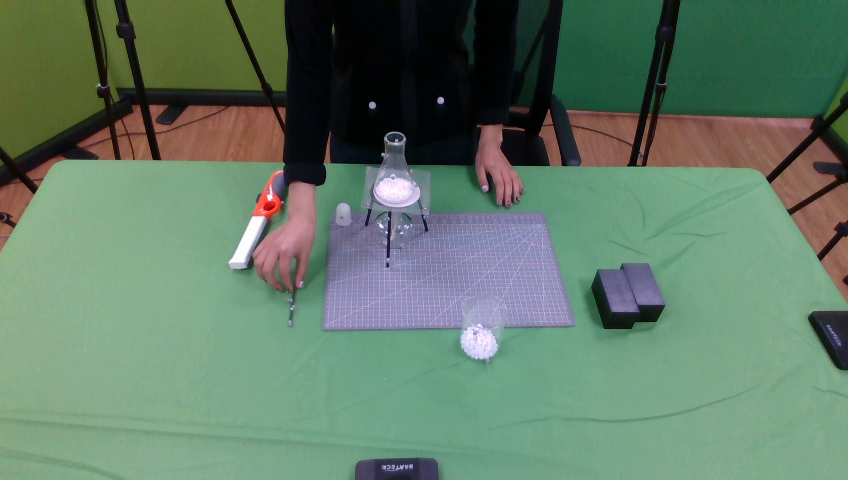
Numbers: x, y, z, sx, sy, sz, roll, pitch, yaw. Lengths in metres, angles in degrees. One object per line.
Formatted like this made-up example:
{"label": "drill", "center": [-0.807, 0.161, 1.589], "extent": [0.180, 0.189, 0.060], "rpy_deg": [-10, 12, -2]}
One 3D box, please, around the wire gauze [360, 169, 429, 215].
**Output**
{"label": "wire gauze", "center": [-0.052, -0.092, 1.112], "extent": [0.125, 0.011, 0.120], "rpy_deg": [3, 43, 1]}

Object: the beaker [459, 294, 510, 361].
{"label": "beaker", "center": [0.094, 0.147, 1.012], "extent": [0.083, 0.101, 0.074], "rpy_deg": [26, 49, 21]}

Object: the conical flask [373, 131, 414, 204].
{"label": "conical flask", "center": [-0.053, -0.130, 1.066], "extent": [0.075, 0.122, 0.075], "rpy_deg": [2, 44, -2]}

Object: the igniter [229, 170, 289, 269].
{"label": "igniter", "center": [-0.328, -0.049, 1.218], "extent": [0.057, 0.025, 0.275], "rpy_deg": [1, 46, 11]}

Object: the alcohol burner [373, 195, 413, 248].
{"label": "alcohol burner", "center": [-0.060, -0.041, 1.167], "extent": [0.078, 0.119, 0.077], "rpy_deg": [4, 45, -4]}

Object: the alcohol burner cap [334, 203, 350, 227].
{"label": "alcohol burner cap", "center": [-0.166, -0.054, 1.221], "extent": [0.034, 0.048, 0.033], "rpy_deg": [3, 45, -3]}

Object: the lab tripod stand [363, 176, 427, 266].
{"label": "lab tripod stand", "center": [-0.057, -0.047, 1.159], "extent": [0.148, 0.132, 0.147], "rpy_deg": [3, 44, -2]}

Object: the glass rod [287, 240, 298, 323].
{"label": "glass rod", "center": [-0.242, 0.072, 1.119], "extent": [0.008, 0.008, 0.198], "rpy_deg": [-1, 47, -5]}
